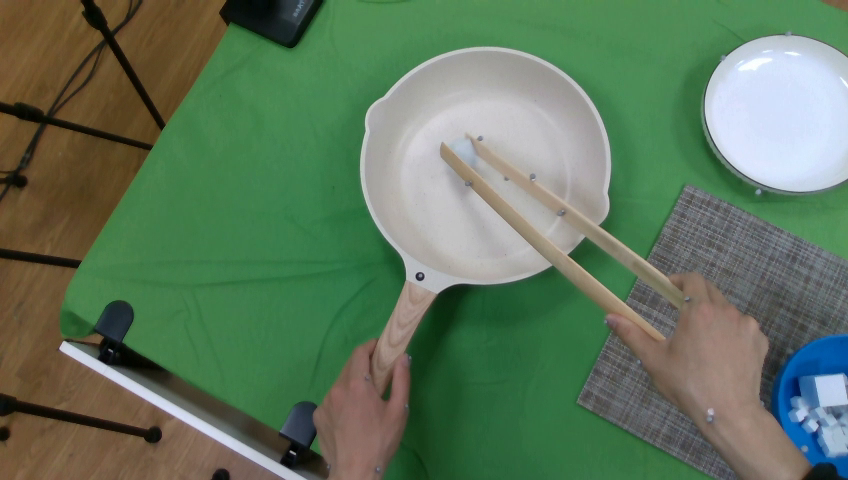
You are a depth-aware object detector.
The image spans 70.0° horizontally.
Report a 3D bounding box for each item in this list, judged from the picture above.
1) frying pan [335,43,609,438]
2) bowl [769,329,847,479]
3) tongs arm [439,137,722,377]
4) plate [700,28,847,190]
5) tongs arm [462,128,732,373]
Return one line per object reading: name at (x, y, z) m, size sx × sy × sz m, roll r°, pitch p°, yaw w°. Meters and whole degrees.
frying pan at (0.022, -0.003, 0.702) m, size 0.306 × 0.103 × 0.486 m, roll 26°, pitch 73°, yaw 9°
bowl at (0.436, 0.173, 0.648) m, size 0.151 × 0.077 × 0.150 m, roll -1°, pitch 79°, yaw 4°
tongs arm at (0.129, -0.001, 0.615) m, size 0.028 × 0.028 × 0.383 m, roll -24°, pitch 50°, yaw -25°
plate at (0.442, -0.157, 0.742) m, size 0.207 × 0.039 × 0.206 m, roll -1°, pitch 78°, yaw 4°
tongs arm at (0.149, -0.011, 0.623) m, size 0.051 × 0.027 × 0.381 m, roll -30°, pitch 53°, yaw -26°
